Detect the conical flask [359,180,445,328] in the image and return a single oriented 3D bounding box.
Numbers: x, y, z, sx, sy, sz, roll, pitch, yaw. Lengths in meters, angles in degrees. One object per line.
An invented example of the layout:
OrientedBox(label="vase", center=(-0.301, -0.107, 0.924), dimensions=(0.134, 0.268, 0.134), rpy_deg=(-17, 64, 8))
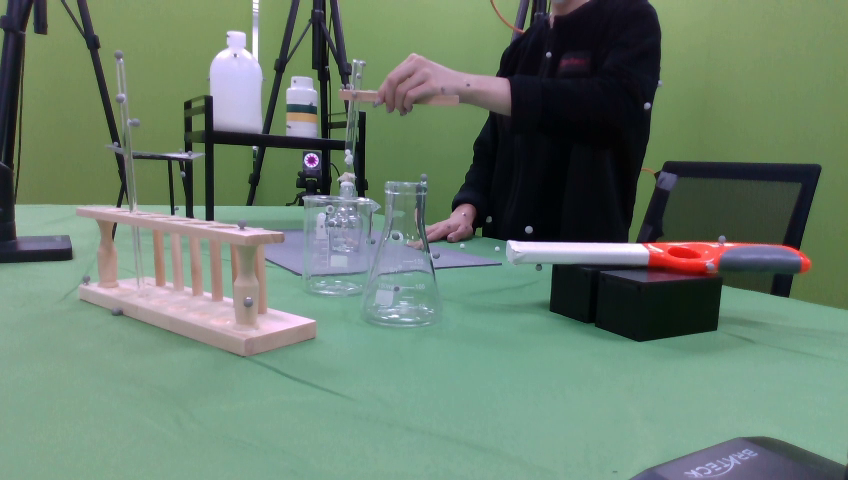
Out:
OrientedBox(label="conical flask", center=(-0.017, 0.010, 0.522), dimensions=(0.075, 0.122, 0.075), rpy_deg=(3, 7, 0))

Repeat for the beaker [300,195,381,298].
OrientedBox(label="beaker", center=(-0.087, 0.006, 0.626), dimensions=(0.084, 0.100, 0.074), rpy_deg=(1, 8, -17))

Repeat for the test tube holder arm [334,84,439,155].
OrientedBox(label="test tube holder arm", center=(-0.050, -0.170, 0.865), dimensions=(0.179, 0.013, 0.015), rpy_deg=(27, -28, -29))

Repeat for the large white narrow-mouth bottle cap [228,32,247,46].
OrientedBox(label="large white narrow-mouth bottle cap", center=(-0.364, -0.390, 1.180), dimensions=(0.038, 0.024, 0.037), rpy_deg=(3, 8, 0))

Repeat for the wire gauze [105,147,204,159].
OrientedBox(label="wire gauze", center=(-0.407, -0.131, 0.928), dimensions=(0.125, 0.011, 0.121), rpy_deg=(2, 6, -11))

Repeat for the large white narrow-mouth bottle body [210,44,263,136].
OrientedBox(label="large white narrow-mouth bottle body", center=(-0.369, -0.305, 1.194), dimensions=(0.102, 0.194, 0.102), rpy_deg=(3, 8, 0))

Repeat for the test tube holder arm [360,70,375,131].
OrientedBox(label="test tube holder arm", center=(-0.078, -0.196, 0.850), dimensions=(0.010, 0.087, 0.015), rpy_deg=(-2, -9, -34))

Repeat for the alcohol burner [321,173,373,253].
OrientedBox(label="alcohol burner", center=(-0.115, -0.041, 0.905), dimensions=(0.078, 0.119, 0.078), rpy_deg=(1, 6, 0))

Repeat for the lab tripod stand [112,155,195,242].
OrientedBox(label="lab tripod stand", center=(-0.405, -0.064, 0.931), dimensions=(0.148, 0.131, 0.148), rpy_deg=(1, 6, 0))

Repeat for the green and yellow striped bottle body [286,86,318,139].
OrientedBox(label="green and yellow striped bottle body", center=(-0.251, -0.270, 1.245), dimensions=(0.063, 0.119, 0.063), rpy_deg=(2, 7, 0))

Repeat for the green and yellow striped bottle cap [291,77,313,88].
OrientedBox(label="green and yellow striped bottle cap", center=(-0.250, -0.321, 1.237), dimensions=(0.045, 0.020, 0.045), rpy_deg=(3, 5, 0))

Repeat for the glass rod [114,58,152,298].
OrientedBox(label="glass rod", center=(-0.236, -0.044, 0.493), dimensions=(0.008, 0.199, 0.008), rpy_deg=(1, 16, 0))

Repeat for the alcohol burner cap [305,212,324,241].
OrientedBox(label="alcohol burner cap", center=(-0.185, -0.023, 1.027), dimensions=(0.034, 0.048, 0.034), rpy_deg=(2, 6, 0))

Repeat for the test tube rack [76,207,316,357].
OrientedBox(label="test tube rack", center=(-0.196, 0.023, 0.500), dimensions=(0.241, 0.085, 0.067), rpy_deg=(8, 9, 36))

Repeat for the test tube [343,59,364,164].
OrientedBox(label="test tube", center=(-0.102, -0.182, 0.867), dimensions=(0.017, 0.150, 0.017), rpy_deg=(8, 21, -3))

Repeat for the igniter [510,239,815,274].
OrientedBox(label="igniter", center=(0.220, 0.015, 0.565), dimensions=(0.277, 0.025, 0.057), rpy_deg=(2, 16, -1))
